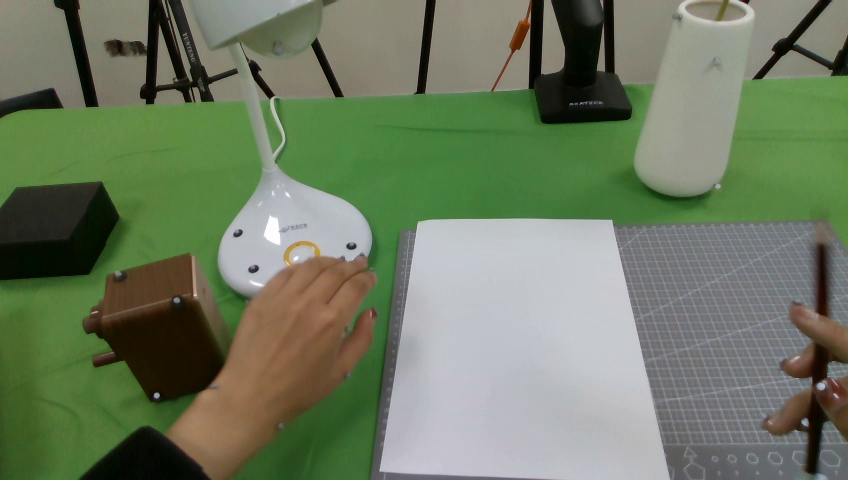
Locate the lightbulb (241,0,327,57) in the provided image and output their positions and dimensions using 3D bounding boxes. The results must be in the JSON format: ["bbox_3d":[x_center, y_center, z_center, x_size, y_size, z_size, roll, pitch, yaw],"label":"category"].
[{"bbox_3d":[-0.097,-0.170,0.377,0.059,0.108,0.059,-12,19,5],"label":"lightbulb"}]

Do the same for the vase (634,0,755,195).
[{"bbox_3d":[0.284,-0.147,0.641,0.098,0.202,0.097,-3,40,3],"label":"vase"}]

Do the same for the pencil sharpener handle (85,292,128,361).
[{"bbox_3d":[-0.260,0.074,0.489,0.031,0.068,0.035,-15,46,-11],"label":"pencil sharpener handle"}]

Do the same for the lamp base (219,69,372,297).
[{"bbox_3d":[-0.146,-0.064,0.598,0.161,0.182,0.177,-22,42,-19],"label":"lamp base"}]

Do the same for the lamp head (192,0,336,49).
[{"bbox_3d":[-0.107,-0.194,0.374,0.112,0.123,0.112,-24,16,8],"label":"lamp head"}]

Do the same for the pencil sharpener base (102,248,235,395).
[{"bbox_3d":[-0.211,0.070,0.506,0.077,0.108,0.060,-15,43,-11],"label":"pencil sharpener base"}]

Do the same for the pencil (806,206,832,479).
[{"bbox_3d":[0.213,0.072,0.326,0.012,0.195,0.012,-12,22,5],"label":"pencil"}]

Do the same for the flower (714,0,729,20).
[{"bbox_3d":[0.272,-0.194,0.571,0.043,0.365,0.038,40,71,23],"label":"flower"}]
